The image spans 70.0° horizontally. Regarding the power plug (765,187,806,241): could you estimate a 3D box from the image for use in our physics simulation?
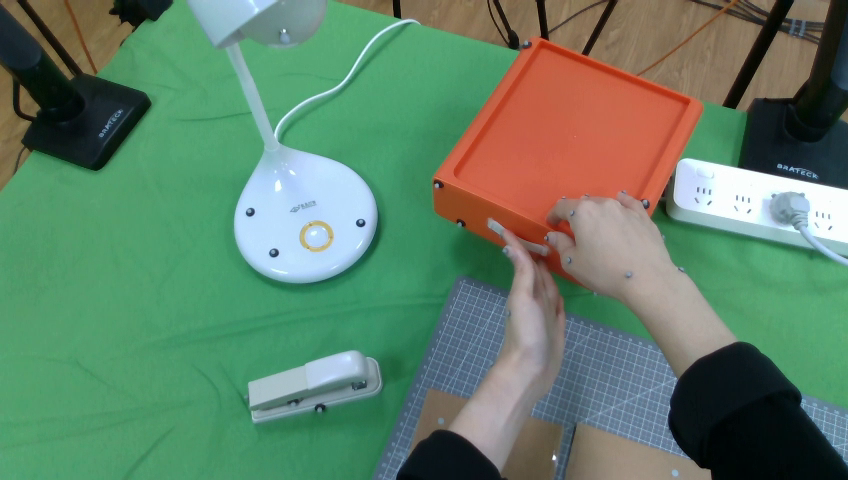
[{"bbox_3d":[0.376,-0.024,0.639,0.035,0.053,0.072,23,65,13],"label":"power plug"}]

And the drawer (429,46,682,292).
[{"bbox_3d":[0.140,-0.081,0.624,0.193,0.074,0.211,27,65,15],"label":"drawer"}]

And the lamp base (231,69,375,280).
[{"bbox_3d":[-0.145,-0.073,0.620,0.160,0.182,0.177,-31,63,-15],"label":"lamp base"}]

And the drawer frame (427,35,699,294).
[{"bbox_3d":[0.142,-0.085,0.629,0.200,0.083,0.213,27,67,15],"label":"drawer frame"}]

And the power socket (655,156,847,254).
[{"bbox_3d":[0.375,-0.040,0.674,0.226,0.033,0.072,13,64,8],"label":"power socket"}]

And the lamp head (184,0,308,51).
[{"bbox_3d":[-0.111,-0.190,0.354,0.112,0.112,0.123,-39,106,-17],"label":"lamp head"}]

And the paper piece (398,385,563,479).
[{"bbox_3d":[0.048,0.215,0.559,0.135,0.009,0.137,13,65,12],"label":"paper piece"}]

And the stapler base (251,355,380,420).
[{"bbox_3d":[-0.110,0.141,0.596,0.131,0.024,0.041,-13,59,-4],"label":"stapler base"}]

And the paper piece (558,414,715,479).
[{"bbox_3d":[0.184,0.243,0.540,0.135,0.004,0.135,19,65,10],"label":"paper piece"}]

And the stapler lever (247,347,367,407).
[{"bbox_3d":[-0.113,0.129,0.573,0.118,0.040,0.026,-13,59,-3],"label":"stapler lever"}]
